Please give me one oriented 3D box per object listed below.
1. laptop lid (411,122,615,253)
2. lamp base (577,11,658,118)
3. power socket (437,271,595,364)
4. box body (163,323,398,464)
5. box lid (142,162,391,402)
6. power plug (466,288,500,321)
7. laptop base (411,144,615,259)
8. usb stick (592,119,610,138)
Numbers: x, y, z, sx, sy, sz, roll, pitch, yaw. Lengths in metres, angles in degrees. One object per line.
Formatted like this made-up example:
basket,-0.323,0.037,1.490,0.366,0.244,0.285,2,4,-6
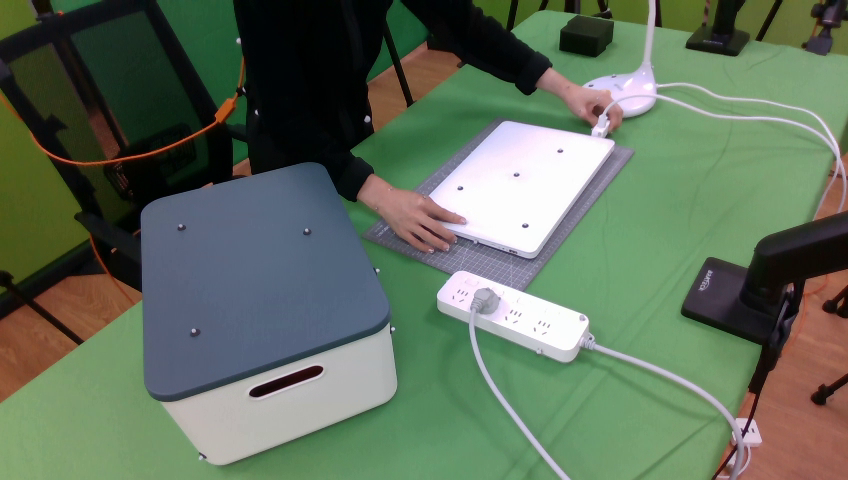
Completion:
laptop lid,0.164,-0.111,1.068,0.240,0.013,0.357,19,46,31
lamp base,0.406,-0.364,1.223,0.180,0.181,0.159,-19,42,-18
power socket,0.118,0.102,0.830,0.225,0.033,0.072,20,48,28
box body,-0.205,0.080,0.802,0.255,0.161,0.361,-18,41,-13
box lid,-0.212,0.024,0.752,0.264,0.015,0.368,-17,41,-13
power plug,0.072,0.093,0.813,0.073,0.053,0.035,-37,49,-28
laptop base,0.167,-0.102,1.075,0.234,0.023,0.355,17,46,30
usb stick,0.334,-0.204,1.150,0.021,0.027,0.059,22,51,21
